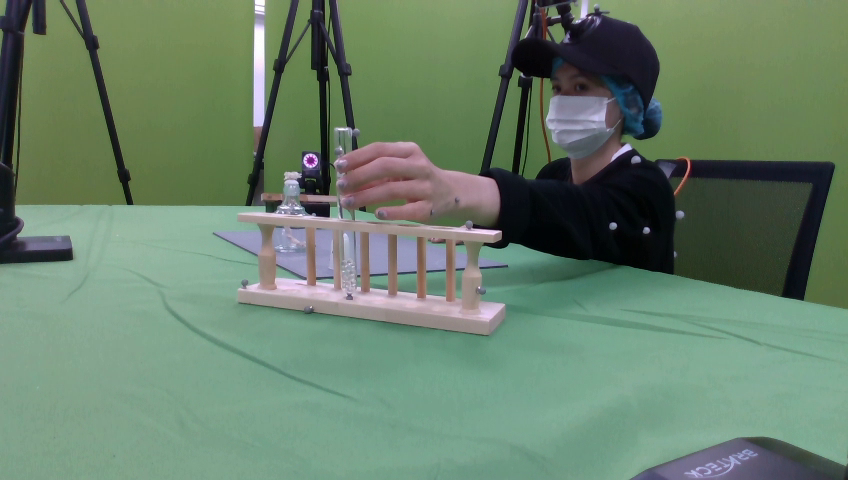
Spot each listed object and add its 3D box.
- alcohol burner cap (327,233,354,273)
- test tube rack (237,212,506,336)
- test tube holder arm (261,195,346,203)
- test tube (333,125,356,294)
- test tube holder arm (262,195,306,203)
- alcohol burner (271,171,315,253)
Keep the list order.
[{"bbox_3d":[-0.104,0.016,0.752,0.034,0.048,0.034,3,6,0],"label":"alcohol burner cap"},{"bbox_3d":[-0.049,0.024,0.552,0.242,0.085,0.067,5,8,19],"label":"test tube rack"},{"bbox_3d":[-0.242,-0.083,1.233,0.179,0.015,0.013,-1,10,-33],"label":"test tube holder arm"},{"bbox_3d":[-0.070,-0.025,0.533,0.017,0.150,0.017,-1,11,0],"label":"test tube"},{"bbox_3d":[-0.278,-0.082,1.204,0.088,0.015,0.010,-1,10,-30],"label":"test tube holder arm"},{"bbox_3d":[-0.196,-0.041,0.884,0.078,0.119,0.078,3,5,0],"label":"alcohol burner"}]
